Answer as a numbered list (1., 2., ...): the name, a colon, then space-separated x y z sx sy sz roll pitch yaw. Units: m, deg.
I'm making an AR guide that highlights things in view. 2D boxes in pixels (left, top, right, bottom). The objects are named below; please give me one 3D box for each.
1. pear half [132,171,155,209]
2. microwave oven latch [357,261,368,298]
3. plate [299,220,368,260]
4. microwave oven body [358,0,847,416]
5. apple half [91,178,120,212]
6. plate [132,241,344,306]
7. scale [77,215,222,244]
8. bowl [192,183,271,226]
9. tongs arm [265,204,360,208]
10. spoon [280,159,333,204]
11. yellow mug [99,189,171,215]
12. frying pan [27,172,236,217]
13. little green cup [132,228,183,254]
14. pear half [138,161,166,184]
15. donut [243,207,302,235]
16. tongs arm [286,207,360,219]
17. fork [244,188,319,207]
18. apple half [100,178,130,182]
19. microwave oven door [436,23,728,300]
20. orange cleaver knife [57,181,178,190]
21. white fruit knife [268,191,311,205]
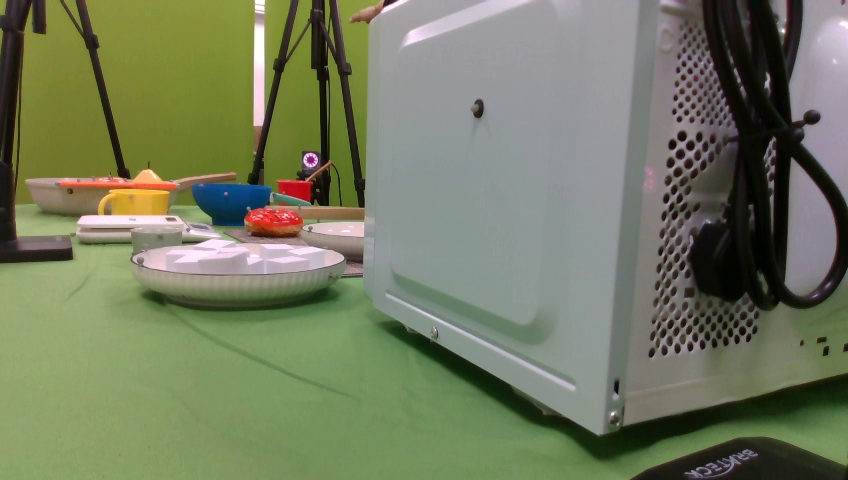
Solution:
1. pear half: -0.636 -0.113 1.362 0.031 0.088 0.070 3 13 1
2. microwave oven latch: -0.019 0.033 0.530 0.079 0.029 0.030 0 7 -26
3. plate: -0.078 -0.001 0.890 0.209 0.038 0.209 3 8 0
4. microwave oven body: 0.211 -0.047 0.475 0.444 0.260 0.324 -1 7 -28
5. apple half: -0.677 -0.096 1.271 0.033 0.081 0.081 7 8 10
6. plate: -0.187 0.033 0.625 0.208 0.039 0.207 2 7 0
7. scale: -0.434 -0.019 0.963 0.202 0.031 0.148 -1 9 -27
8. bowl: -0.382 -0.071 1.202 0.151 0.077 0.151 3 7 0
9. tongs arm: -0.209 -0.069 1.439 0.389 0.027 0.028 1 0 -16
10. spoon: -0.316 -0.159 1.640 0.194 0.022 0.041 -50 32 -20
11. yellow mug: -0.519 -0.055 1.080 0.099 0.064 0.131 7 9 26
12. frying pan: -0.624 -0.118 1.387 0.305 0.102 0.490 8 17 32
13. little green cup: -0.342 0.006 0.779 0.061 0.038 0.061 2 8 0
14. pear half: -0.602 -0.120 1.354 0.056 0.110 0.076 4 11 5
15. donut: -0.261 -0.032 1.043 0.099 0.048 0.099 4 9 0
16. tongs arm: -0.173 -0.061 1.362 0.387 0.026 0.050 -1 4 -31
17. fork: -0.356 -0.105 1.526 0.208 0.018 0.028 16 -5 -41
18. apple half: -0.638 -0.093 1.265 0.053 0.074 0.081 7 5 10
19. microwave oven door: 0.180 -0.072 0.621 0.358 0.243 0.039 -2 9 -29
20. orange cleaver knife: -0.600 -0.109 1.189 0.212 0.012 0.077 -1 11 -26
21. white fruit knife: -0.364 -0.105 1.463 0.208 0.027 0.016 15 -2 -34
